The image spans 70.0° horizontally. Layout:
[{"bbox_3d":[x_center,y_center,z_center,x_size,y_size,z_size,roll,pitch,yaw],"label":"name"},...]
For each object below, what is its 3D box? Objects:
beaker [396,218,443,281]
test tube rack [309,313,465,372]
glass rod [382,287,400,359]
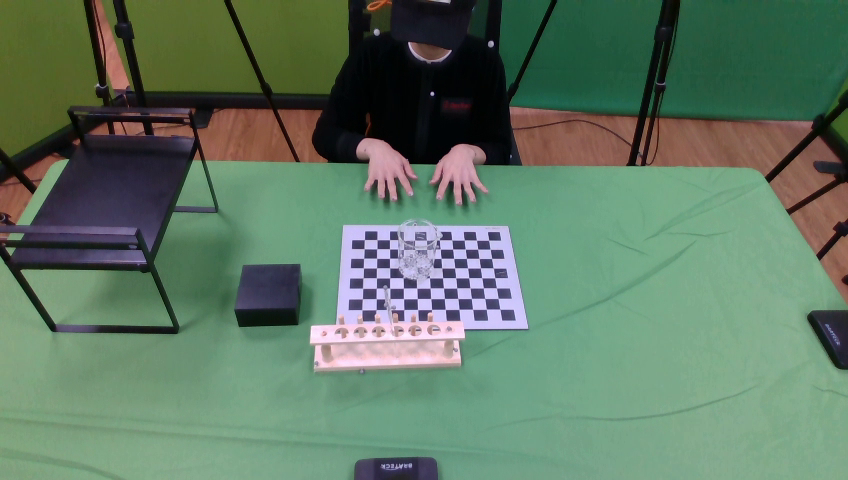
[{"bbox_3d":[-0.010,0.020,1.116,0.084,0.101,0.073,1,46,-3],"label":"beaker"},{"bbox_3d":[-0.059,0.161,0.990,0.242,0.085,0.066,-1,46,-5],"label":"test tube rack"},{"bbox_3d":[-0.049,0.133,0.926,0.008,0.201,0.008,-3,50,3],"label":"glass rod"}]
